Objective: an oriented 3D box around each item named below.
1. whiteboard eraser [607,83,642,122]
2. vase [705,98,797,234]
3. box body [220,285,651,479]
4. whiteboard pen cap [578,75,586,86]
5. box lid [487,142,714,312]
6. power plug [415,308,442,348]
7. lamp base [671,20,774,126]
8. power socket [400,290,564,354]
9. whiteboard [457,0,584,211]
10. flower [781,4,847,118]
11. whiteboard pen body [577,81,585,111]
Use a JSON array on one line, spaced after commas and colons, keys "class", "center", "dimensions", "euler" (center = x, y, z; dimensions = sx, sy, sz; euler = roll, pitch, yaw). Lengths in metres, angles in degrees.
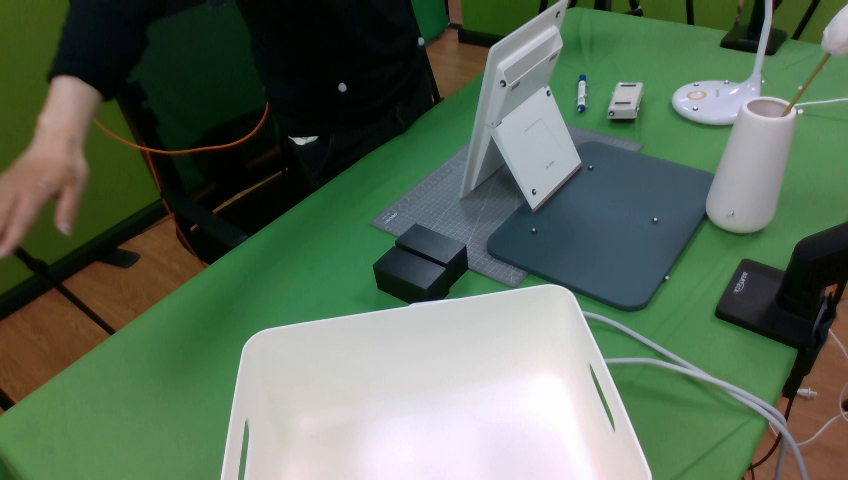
[{"class": "whiteboard eraser", "center": [0.406, -0.277, 1.222], "dimensions": [0.055, 0.042, 0.112], "euler": [9, 43, 22]}, {"class": "vase", "center": [0.480, -0.104, 0.888], "dimensions": [0.098, 0.201, 0.097], "euler": [-4, 42, 4]}, {"class": "box body", "center": [0.005, 0.211, 0.616], "dimensions": [0.364, 0.161, 0.252], "euler": [-9, 40, -2]}, {"class": "whiteboard pen cap", "center": [0.349, -0.351, 1.334], "dimensions": [0.018, 0.018, 0.033], "euler": [3, 39, 12]}, {"class": "box lid", "center": [0.298, -0.041, 0.986], "dimensions": [0.261, 0.015, 0.372], "euler": [23, 49, 30]}, {"class": "power plug", "center": [0.004, 0.121, 0.786], "dimensions": [0.035, 0.053, 0.072], "euler": [1, 45, 8]}, {"class": "lamp base", "center": [0.581, -0.332, 1.154], "dimensions": [0.179, 0.181, 0.160], "euler": [2, 41, 7]}, {"class": "power socket", "center": [0.079, 0.111, 0.823], "dimensions": [0.227, 0.033, 0.072], "euler": [-6, 41, 1]}, {"class": "whiteboard", "center": [0.193, -0.191, 0.983], "dimensions": [0.143, 0.306, 0.218], "euler": [36, 55, 21]}, {"class": "flower", "center": [0.480, -0.157, 0.824], "dimensions": [0.044, 0.362, 0.038], "euler": [-8, 56, -9]}, {"class": "whiteboard pen body", "center": [0.335, -0.313, 1.292], "dimensions": [0.017, 0.017, 0.140], "euler": [3, 41, 12]}]
